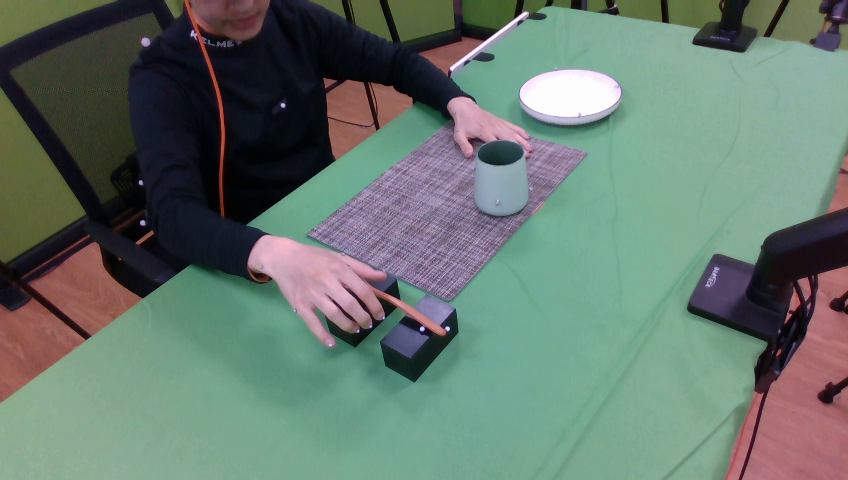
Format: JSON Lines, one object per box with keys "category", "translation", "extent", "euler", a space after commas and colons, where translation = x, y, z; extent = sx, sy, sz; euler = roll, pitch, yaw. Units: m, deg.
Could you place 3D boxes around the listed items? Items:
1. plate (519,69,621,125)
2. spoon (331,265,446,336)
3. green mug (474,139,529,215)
{"category": "plate", "translation": [0.300, -0.293, 1.253], "extent": [0.209, 0.038, 0.208], "euler": [-4, 41, 4]}
{"category": "spoon", "translation": [-0.050, 0.079, 0.805], "extent": [0.192, 0.021, 0.042], "euler": [24, 29, 30]}
{"category": "green mug", "translation": [0.126, -0.113, 1.013], "extent": [0.092, 0.105, 0.124], "euler": [-8, 41, 0]}
